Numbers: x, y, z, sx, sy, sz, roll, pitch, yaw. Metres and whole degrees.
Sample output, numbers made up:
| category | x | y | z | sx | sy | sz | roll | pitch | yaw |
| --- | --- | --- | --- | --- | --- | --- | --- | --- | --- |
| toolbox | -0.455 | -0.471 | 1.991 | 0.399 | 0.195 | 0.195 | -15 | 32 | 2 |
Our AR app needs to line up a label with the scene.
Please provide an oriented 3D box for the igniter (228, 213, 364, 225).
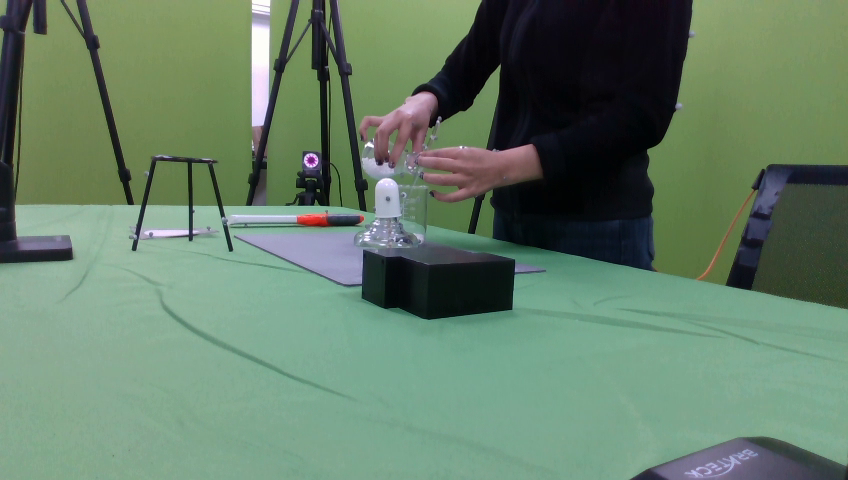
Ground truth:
| category | x | y | z | sx | sy | sz | roll | pitch | yaw |
| --- | --- | --- | --- | --- | --- | --- | --- | --- | --- |
| igniter | -0.252 | -0.043 | 1.227 | 0.278 | 0.025 | 0.057 | -2 | -3 | -32 |

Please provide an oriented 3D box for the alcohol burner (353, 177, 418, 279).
| category | x | y | z | sx | sy | sz | roll | pitch | yaw |
| --- | --- | --- | --- | --- | --- | --- | --- | --- | --- |
| alcohol burner | -0.044 | -0.014 | 0.710 | 0.078 | 0.119 | 0.078 | 4 | 9 | 0 |

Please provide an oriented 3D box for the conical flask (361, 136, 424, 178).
| category | x | y | z | sx | sy | sz | roll | pitch | yaw |
| --- | --- | --- | --- | --- | --- | --- | --- | --- | --- |
| conical flask | -0.049 | -0.137 | 1.026 | 0.076 | 0.075 | 0.121 | -3 | 13 | -36 |

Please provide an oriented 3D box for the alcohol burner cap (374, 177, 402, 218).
| category | x | y | z | sx | sy | sz | roll | pitch | yaw |
| --- | --- | --- | --- | --- | --- | --- | --- | --- | --- |
| alcohol burner cap | -0.044 | -0.049 | 0.704 | 0.034 | 0.048 | 0.034 | -4 | 10 | 1 |

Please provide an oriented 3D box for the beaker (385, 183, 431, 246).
| category | x | y | z | sx | sy | sz | roll | pitch | yaw |
| --- | --- | --- | --- | --- | --- | --- | --- | --- | --- |
| beaker | -0.031 | -0.043 | 1.000 | 0.084 | 0.100 | 0.074 | 4 | 7 | 15 |

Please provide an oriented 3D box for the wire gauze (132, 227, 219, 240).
| category | x | y | z | sx | sy | sz | roll | pitch | yaw |
| --- | --- | --- | --- | --- | --- | --- | --- | --- | --- |
| wire gauze | -0.421 | -0.014 | 1.024 | 0.122 | 0.011 | 0.124 | -2 | 7 | -34 |

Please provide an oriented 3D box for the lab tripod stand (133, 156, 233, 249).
| category | x | y | z | sx | sy | sz | roll | pitch | yaw |
| --- | --- | --- | --- | --- | --- | --- | --- | --- | --- |
| lab tripod stand | -0.342 | -0.054 | 0.878 | 0.148 | 0.131 | 0.148 | 4 | 6 | 0 |

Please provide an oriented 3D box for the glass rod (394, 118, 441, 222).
| category | x | y | z | sx | sy | sz | roll | pitch | yaw |
| --- | --- | --- | --- | --- | --- | --- | --- | --- | --- |
| glass rod | -0.012 | -0.109 | 0.979 | 0.008 | 0.199 | 0.008 | 18 | 32 | -11 |
